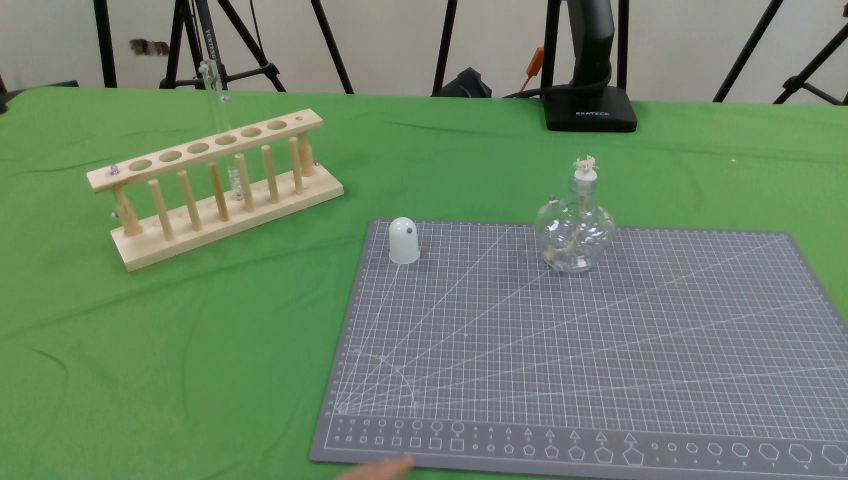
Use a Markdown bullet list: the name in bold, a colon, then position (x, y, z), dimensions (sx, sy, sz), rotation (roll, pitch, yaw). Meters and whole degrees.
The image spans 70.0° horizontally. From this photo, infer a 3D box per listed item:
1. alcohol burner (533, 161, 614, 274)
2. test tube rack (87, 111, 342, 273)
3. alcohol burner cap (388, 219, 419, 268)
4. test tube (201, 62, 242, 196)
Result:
- **alcohol burner**: position (0.146, -0.025, 0.582), dimensions (0.078, 0.120, 0.077), rotation (0, 40, 0)
- **test tube rack**: position (-0.215, -0.058, 0.656), dimensions (0.243, 0.086, 0.066), rotation (-23, 43, -26)
- **alcohol burner cap**: position (-0.022, 0.000, 0.610), dimensions (0.034, 0.048, 0.033), rotation (0, 39, 0)
- **test tube**: position (-0.212, -0.113, 0.645), dimensions (0.017, 0.151, 0.017), rotation (-1, 34, 1)
